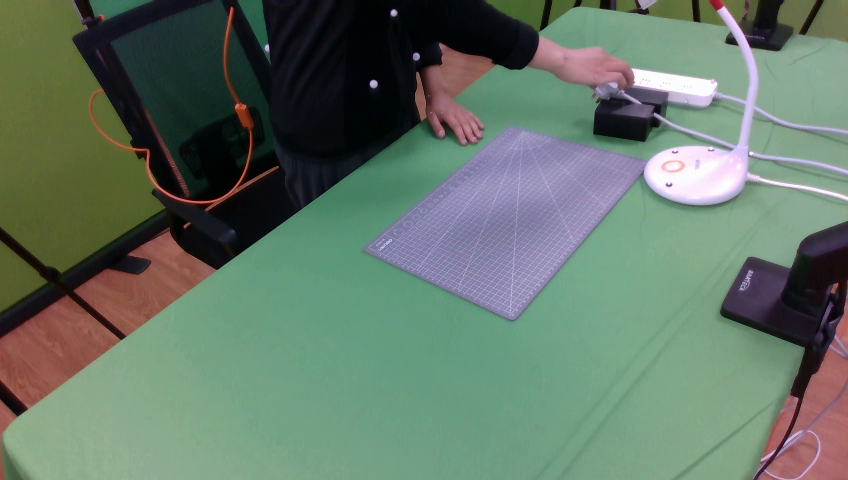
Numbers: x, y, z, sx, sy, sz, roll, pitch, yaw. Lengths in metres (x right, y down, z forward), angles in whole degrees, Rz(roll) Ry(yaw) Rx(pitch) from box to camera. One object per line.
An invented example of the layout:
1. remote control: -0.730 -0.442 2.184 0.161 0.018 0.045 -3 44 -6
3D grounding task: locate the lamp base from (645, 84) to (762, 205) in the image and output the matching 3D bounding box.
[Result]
1. lamp base: 0.461 -0.170 0.975 0.179 0.181 0.160 3 41 11

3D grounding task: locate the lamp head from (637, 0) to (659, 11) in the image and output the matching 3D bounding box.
1. lamp head: 0.330 -0.391 0.827 0.122 0.113 0.112 -21 35 25

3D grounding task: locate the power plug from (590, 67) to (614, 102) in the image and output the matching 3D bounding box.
1. power plug: 0.354 -0.304 1.198 0.035 0.052 0.072 40 40 -9

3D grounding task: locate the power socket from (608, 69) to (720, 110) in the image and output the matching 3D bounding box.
1. power socket: 0.492 -0.315 1.256 0.225 0.033 0.072 20 49 30
